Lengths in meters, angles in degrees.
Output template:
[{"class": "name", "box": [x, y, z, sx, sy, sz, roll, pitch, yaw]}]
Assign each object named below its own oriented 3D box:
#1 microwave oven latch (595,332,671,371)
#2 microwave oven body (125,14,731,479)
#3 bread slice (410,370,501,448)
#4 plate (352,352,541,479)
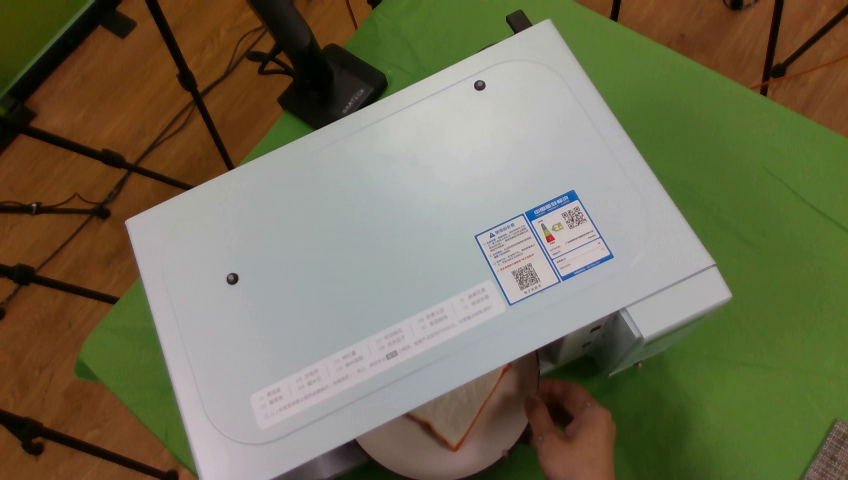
[{"class": "microwave oven latch", "box": [0.230, 0.116, 0.667, 0.079, 0.030, 0.030, -24, 70, 1]}, {"class": "microwave oven body", "box": [-0.005, 0.038, 0.626, 0.442, 0.262, 0.323, -26, 70, 0]}, {"class": "bread slice", "box": [0.006, 0.135, 0.624, 0.131, 0.019, 0.104, 29, 76, 13]}, {"class": "plate", "box": [0.013, 0.139, 0.618, 0.207, 0.039, 0.206, -1, 75, 3]}]
